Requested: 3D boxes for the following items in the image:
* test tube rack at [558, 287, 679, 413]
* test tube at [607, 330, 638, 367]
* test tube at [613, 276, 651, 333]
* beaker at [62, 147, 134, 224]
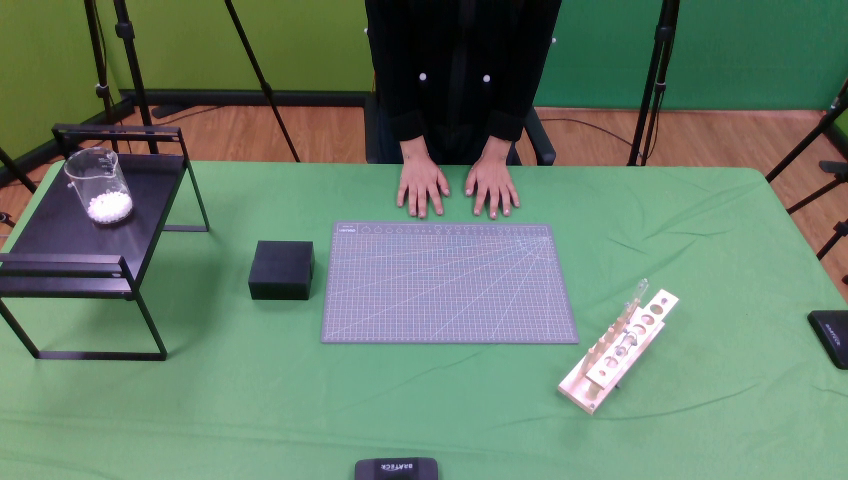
[{"bbox_3d":[0.326,0.170,1.009,0.066,0.085,0.242,36,54,27],"label":"test tube rack"},{"bbox_3d":[0.292,0.183,0.925,0.017,0.151,0.017,4,49,-4],"label":"test tube"},{"bbox_3d":[0.344,0.109,1.007,0.017,0.151,0.017,3,49,-3],"label":"test tube"},{"bbox_3d":[-0.495,-0.080,0.933,0.084,0.101,0.074,23,49,16],"label":"beaker"}]
